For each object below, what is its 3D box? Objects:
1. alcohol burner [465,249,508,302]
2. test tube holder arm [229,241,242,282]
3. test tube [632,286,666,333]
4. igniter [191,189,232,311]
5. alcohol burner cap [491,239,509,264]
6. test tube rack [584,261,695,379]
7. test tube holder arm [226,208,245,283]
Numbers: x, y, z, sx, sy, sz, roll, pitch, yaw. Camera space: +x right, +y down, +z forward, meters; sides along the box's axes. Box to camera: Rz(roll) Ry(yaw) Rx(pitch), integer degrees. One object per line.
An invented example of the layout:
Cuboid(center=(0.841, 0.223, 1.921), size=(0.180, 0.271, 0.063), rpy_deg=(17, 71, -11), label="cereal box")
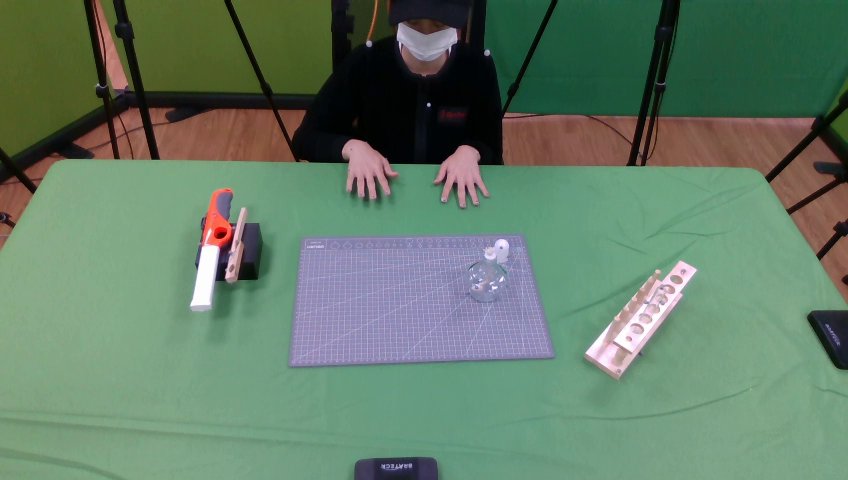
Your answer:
Cuboid(center=(0.114, 0.057, 1.085), size=(0.078, 0.120, 0.077), rpy_deg=(2, 48, -2), label="alcohol burner")
Cuboid(center=(-0.332, 0.038, 1.070), size=(0.010, 0.015, 0.087), rpy_deg=(-6, 47, -1), label="test tube holder arm")
Cuboid(center=(0.363, 0.125, 0.993), size=(0.017, 0.151, 0.017), rpy_deg=(2, 49, -2), label="test tube")
Cuboid(center=(-0.381, 0.008, 1.092), size=(0.057, 0.025, 0.274), rpy_deg=(-1, 50, -7), label="igniter")
Cuboid(center=(0.150, 0.020, 1.174), size=(0.034, 0.048, 0.033), rpy_deg=(2, 46, -2), label="alcohol burner cap")
Cuboid(center=(0.380, 0.127, 1.062), size=(0.066, 0.085, 0.242), rpy_deg=(34, 53, 26), label="test tube rack")
Cuboid(center=(-0.342, 0.006, 1.101), size=(0.013, 0.015, 0.177), rpy_deg=(-7, 47, -2), label="test tube holder arm")
